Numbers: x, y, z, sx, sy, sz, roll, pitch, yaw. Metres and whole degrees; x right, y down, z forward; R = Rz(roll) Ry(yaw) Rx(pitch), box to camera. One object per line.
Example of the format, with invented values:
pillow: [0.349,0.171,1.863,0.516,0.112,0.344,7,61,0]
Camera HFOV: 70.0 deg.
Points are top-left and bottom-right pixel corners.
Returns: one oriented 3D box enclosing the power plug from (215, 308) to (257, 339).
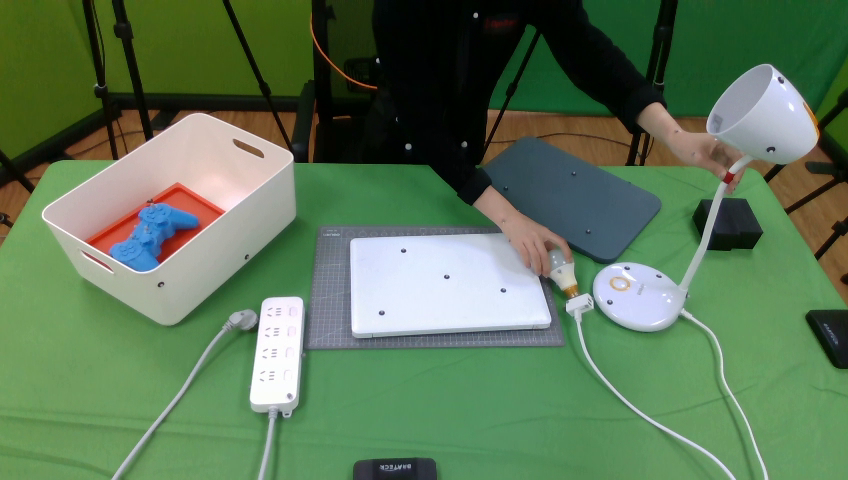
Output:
power plug: [-0.317,0.143,1.024,0.072,0.053,0.035,-33,58,-8]

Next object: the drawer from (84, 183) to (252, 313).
drawer: [-0.457,0.008,1.099,0.194,0.073,0.211,29,49,21]

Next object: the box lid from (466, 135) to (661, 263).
box lid: [0.306,-0.102,1.327,0.370,0.015,0.263,32,52,25]

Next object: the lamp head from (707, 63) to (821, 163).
lamp head: [0.461,-0.155,0.813,0.123,0.112,0.112,36,47,-12]

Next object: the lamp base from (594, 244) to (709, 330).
lamp base: [0.412,0.052,1.070,0.179,0.181,0.160,18,48,9]

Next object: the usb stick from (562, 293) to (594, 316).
usb stick: [0.275,0.118,1.087,0.021,0.059,0.027,38,45,-27]

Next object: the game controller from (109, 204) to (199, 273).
game controller: [-0.467,-0.005,1.044,0.097,0.052,0.154,8,45,10]

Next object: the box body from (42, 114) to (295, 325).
box body: [-0.437,-0.046,1.110,0.253,0.161,0.363,24,49,19]

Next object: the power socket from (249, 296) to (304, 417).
power socket: [-0.239,0.182,0.996,0.072,0.033,0.225,-2,47,-5]

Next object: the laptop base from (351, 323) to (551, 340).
laptop base: [0.040,0.081,1.126,0.355,0.023,0.234,-2,43,-7]

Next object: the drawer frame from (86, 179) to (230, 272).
drawer frame: [-0.453,0.010,1.100,0.201,0.083,0.213,28,55,22]

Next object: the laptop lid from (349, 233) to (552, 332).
laptop lid: [0.040,0.070,1.119,0.357,0.013,0.240,-1,44,-5]

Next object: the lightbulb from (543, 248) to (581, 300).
lightbulb: [0.262,0.066,1.131,0.059,0.059,0.107,-17,71,-19]
